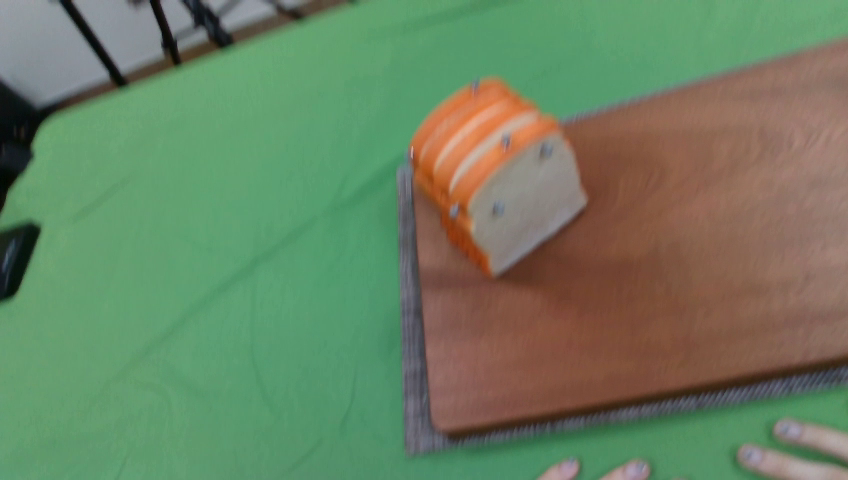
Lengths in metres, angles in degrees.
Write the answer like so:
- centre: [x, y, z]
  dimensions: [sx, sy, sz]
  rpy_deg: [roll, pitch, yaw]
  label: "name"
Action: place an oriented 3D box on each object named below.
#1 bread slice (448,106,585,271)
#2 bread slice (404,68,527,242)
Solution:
- centre: [0.069, -0.035, 0.446]
  dimensions: [0.105, 0.133, 0.019]
  rpy_deg: [-40, 57, -1]
  label: "bread slice"
- centre: [0.044, -0.067, 0.476]
  dimensions: [0.107, 0.136, 0.018]
  rpy_deg: [-37, 49, -5]
  label: "bread slice"
